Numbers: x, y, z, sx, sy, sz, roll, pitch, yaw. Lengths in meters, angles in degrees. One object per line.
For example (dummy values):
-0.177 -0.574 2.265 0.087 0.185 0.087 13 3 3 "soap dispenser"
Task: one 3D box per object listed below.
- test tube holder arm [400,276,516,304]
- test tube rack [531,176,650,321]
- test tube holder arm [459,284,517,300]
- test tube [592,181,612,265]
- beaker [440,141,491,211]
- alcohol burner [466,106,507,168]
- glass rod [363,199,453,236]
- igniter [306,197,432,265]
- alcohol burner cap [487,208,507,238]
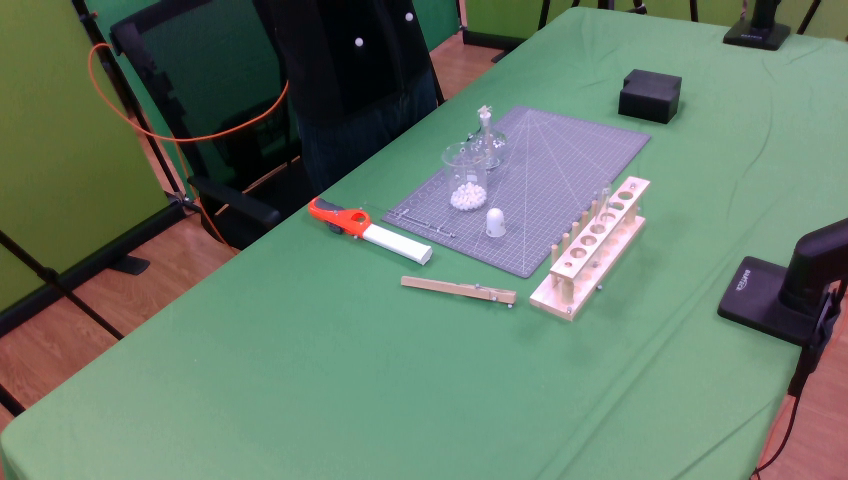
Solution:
0.047 0.072 0.887 0.177 0.015 0.013 7 11 19 "test tube holder arm"
0.246 0.002 0.884 0.066 0.085 0.243 22 49 32 "test tube rack"
0.091 0.077 0.877 0.087 0.015 0.010 8 11 20 "test tube holder arm"
0.245 -0.020 0.833 0.017 0.151 0.017 -5 45 5 "test tube"
0.074 -0.106 1.028 0.084 0.101 0.073 -1 41 8 "beaker"
0.114 -0.193 1.112 0.078 0.119 0.077 -4 41 4 "alcohol burner"
-0.031 -0.041 1.041 0.198 0.008 0.008 22 50 31 "glass rod"
-0.102 -0.020 1.019 0.274 0.025 0.057 23 59 32 "igniter"
0.116 -0.030 0.975 0.034 0.048 0.033 -6 39 5 "alcohol burner cap"
